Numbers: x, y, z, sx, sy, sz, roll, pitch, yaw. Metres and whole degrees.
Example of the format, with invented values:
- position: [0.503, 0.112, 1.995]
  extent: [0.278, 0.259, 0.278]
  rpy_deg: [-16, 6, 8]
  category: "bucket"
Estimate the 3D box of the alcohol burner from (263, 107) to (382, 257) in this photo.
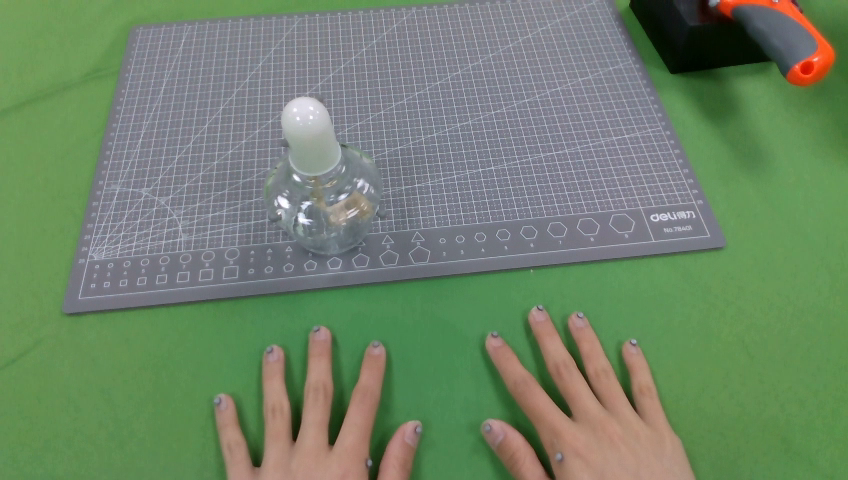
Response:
- position: [-0.067, -0.041, 0.386]
  extent: [0.078, 0.120, 0.077]
  rpy_deg: [0, 58, 1]
  category: "alcohol burner"

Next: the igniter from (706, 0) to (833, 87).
- position: [0.252, -0.220, 0.506]
  extent: [0.057, 0.025, 0.273]
  rpy_deg: [-11, 54, -4]
  category: "igniter"

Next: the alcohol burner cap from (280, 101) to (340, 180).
- position: [-0.069, -0.061, 0.357]
  extent: [0.034, 0.048, 0.033]
  rpy_deg: [0, 60, 0]
  category: "alcohol burner cap"
